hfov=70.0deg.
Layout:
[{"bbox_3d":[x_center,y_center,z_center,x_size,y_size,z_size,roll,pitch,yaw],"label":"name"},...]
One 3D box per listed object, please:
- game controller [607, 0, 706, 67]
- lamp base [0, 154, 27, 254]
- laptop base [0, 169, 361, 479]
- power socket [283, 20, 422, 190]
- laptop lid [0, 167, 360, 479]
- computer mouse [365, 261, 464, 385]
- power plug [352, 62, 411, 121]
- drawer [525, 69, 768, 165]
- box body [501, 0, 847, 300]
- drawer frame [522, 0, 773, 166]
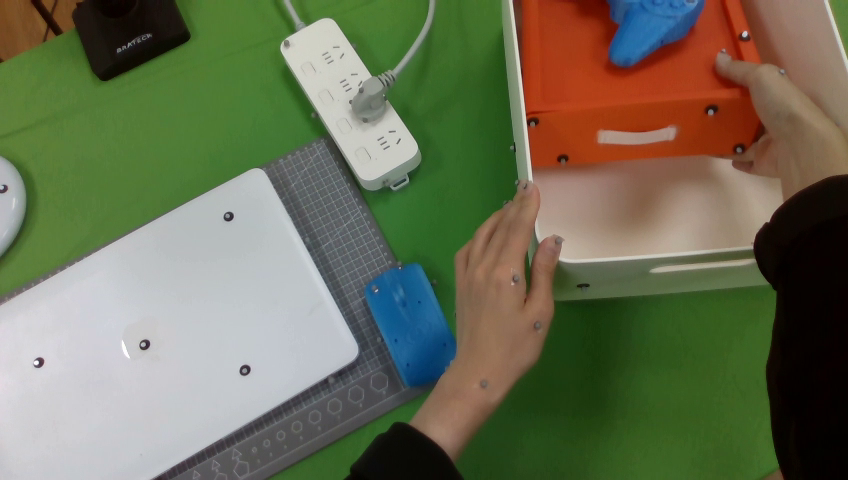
[{"bbox_3d":[0.183,-0.232,0.554,0.097,0.052,0.153,-20,57,-8],"label":"game controller"},{"bbox_3d":[-0.536,-0.060,0.599,0.178,0.181,0.160,19,73,15],"label":"lamp base"},{"bbox_3d":[-0.265,0.102,0.601,0.354,0.023,0.234,-30,74,-5],"label":"laptop base"},{"bbox_3d":[-0.080,-0.151,0.663,0.072,0.033,0.225,-30,71,-7],"label":"power socket"},{"bbox_3d":[-0.265,0.100,0.590,0.357,0.013,0.240,-28,73,-4],"label":"laptop lid"},{"bbox_3d":[-0.011,0.075,0.572,0.063,0.041,0.116,-26,66,-1],"label":"computer mouse"},{"bbox_3d":[-0.041,-0.148,0.633,0.072,0.053,0.035,-20,69,-3],"label":"power plug"},{"bbox_3d":[0.194,-0.177,0.579,0.194,0.074,0.210,-3,57,11],"label":"drawer"},{"bbox_3d":[0.208,-0.135,0.559,0.254,0.161,0.361,-5,71,4],"label":"box body"},{"bbox_3d":[0.195,-0.180,0.581,0.201,0.083,0.211,-3,59,12],"label":"drawer frame"}]
